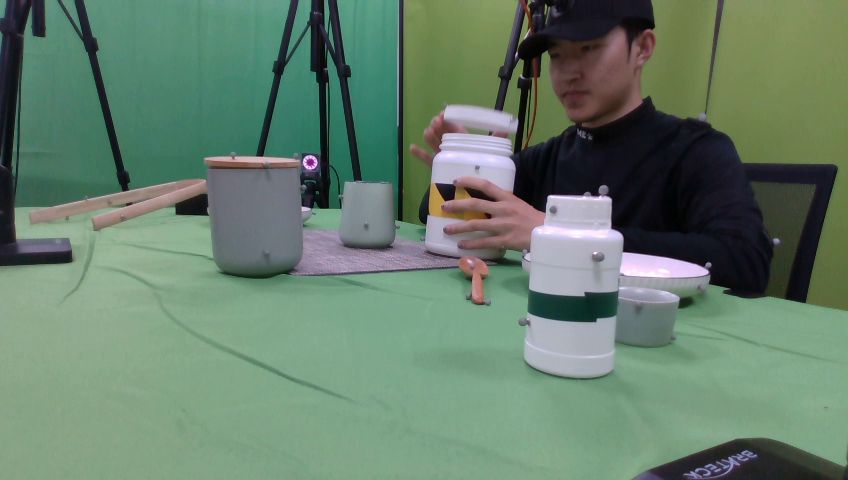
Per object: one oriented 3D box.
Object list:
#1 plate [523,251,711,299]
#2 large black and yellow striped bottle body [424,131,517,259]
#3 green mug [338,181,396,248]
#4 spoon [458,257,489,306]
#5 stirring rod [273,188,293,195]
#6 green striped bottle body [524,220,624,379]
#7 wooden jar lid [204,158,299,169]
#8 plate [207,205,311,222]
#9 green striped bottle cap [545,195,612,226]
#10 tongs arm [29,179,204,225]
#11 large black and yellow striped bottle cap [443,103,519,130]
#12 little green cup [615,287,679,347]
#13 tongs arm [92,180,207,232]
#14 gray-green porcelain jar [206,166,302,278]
[{"bbox_3d":[0.219,0.041,0.706,0.209,0.038,0.209,2,7,0],"label":"plate"},{"bbox_3d":[0.073,-0.069,0.934,0.131,0.184,0.130,6,5,0],"label":"large black and yellow striped bottle body"},{"bbox_3d":[-0.098,-0.044,0.995,0.093,0.105,0.125,-1,8,-21],"label":"green mug"},{"bbox_3d":[0.059,0.044,0.695,0.041,0.021,0.194,18,7,1],"label":"spoon"},{"bbox_3d":[-0.353,-0.122,1.518,0.006,0.014,0.176,2,7,2],"label":"stirring rod"},{"bbox_3d":[0.104,0.031,0.422,0.063,0.119,0.063,2,7,0],"label":"green striped bottle body"},{"bbox_3d":[-0.203,-0.086,0.714,0.108,0.020,0.108,3,11,0],"label":"wooden jar lid"},{"bbox_3d":[-0.342,-0.050,1.259,0.208,0.039,0.207,3,7,0],"label":"plate"},{"bbox_3d":[0.105,-0.020,0.415,0.044,0.020,0.044,2,5,0],"label":"green striped bottle cap"},{"bbox_3d":[-0.609,-0.083,1.245,0.050,0.026,0.386,5,16,23],"label":"tongs arm"},{"bbox_3d":[0.087,-0.188,0.921,0.115,0.019,0.115,10,5,-1],"label":"large black and yellow striped bottle cap"},{"bbox_3d":[0.180,0.064,0.506,0.061,0.038,0.061,1,8,0],"label":"little green cup"},{"bbox_3d":[-0.534,-0.076,1.221,0.028,0.028,0.388,-2,15,12],"label":"tongs arm"},{"bbox_3d":[-0.201,-0.024,0.725,0.106,0.126,0.106,-1,9,1],"label":"gray-green porcelain jar"}]
